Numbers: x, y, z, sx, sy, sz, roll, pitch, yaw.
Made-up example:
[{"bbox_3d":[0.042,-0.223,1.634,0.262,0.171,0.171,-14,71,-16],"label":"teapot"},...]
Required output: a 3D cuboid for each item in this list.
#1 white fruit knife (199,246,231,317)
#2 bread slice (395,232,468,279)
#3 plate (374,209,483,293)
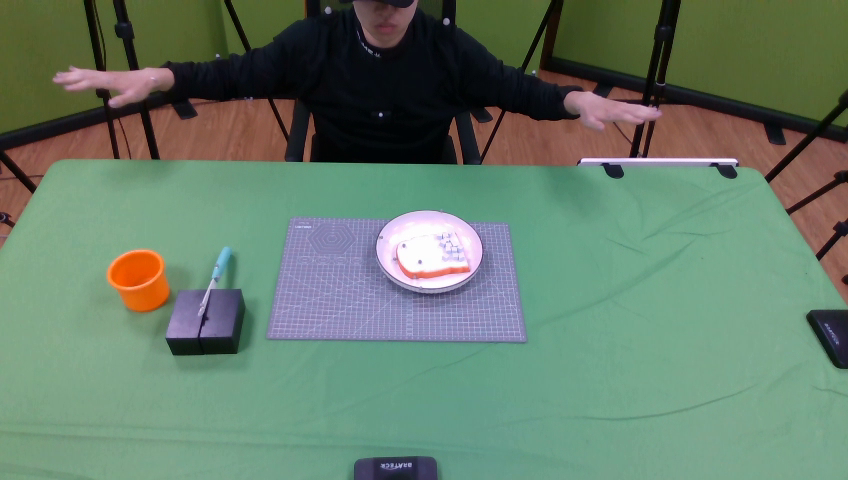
[{"bbox_3d":[-0.367,0.069,1.063,0.016,0.027,0.206,-1,32,-4],"label":"white fruit knife"},{"bbox_3d":[0.011,0.030,1.158,0.132,0.019,0.104,-8,47,-14],"label":"bread slice"},{"bbox_3d":[0.009,0.024,1.160,0.209,0.038,0.208,2,46,-2],"label":"plate"}]
